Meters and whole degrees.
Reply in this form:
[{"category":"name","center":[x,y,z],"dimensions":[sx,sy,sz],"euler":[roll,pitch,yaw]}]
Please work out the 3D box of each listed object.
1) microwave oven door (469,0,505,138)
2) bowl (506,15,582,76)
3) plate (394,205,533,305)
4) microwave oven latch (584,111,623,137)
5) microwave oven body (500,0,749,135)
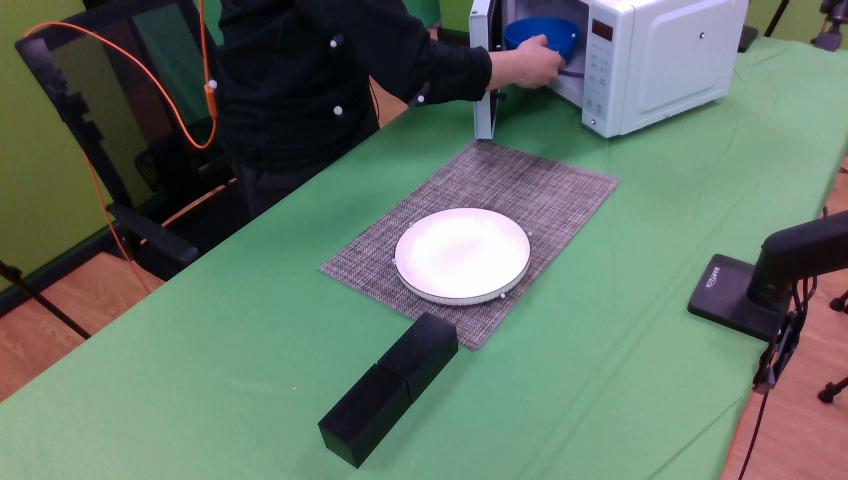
[{"category":"microwave oven door","center":[0.133,-0.403,1.225],"dimensions":[0.039,0.245,0.354],"euler":[1,41,11]},{"category":"bowl","center":[0.242,-0.388,1.231],"dimensions":[0.151,0.077,0.150],"euler":[-3,45,4]},{"category":"plate","center":[0.059,0.025,0.915],"dimensions":[0.207,0.039,0.206],"euler":[-4,41,4]},{"category":"microwave oven latch","center":[0.337,-0.222,1.142],"dimensions":[0.030,0.029,0.078],"euler":[-21,42,-14]},{"category":"microwave oven body","center":[0.382,-0.444,1.246],"dimensions":[0.327,0.261,0.437],"euler":[-22,42,-16]}]
